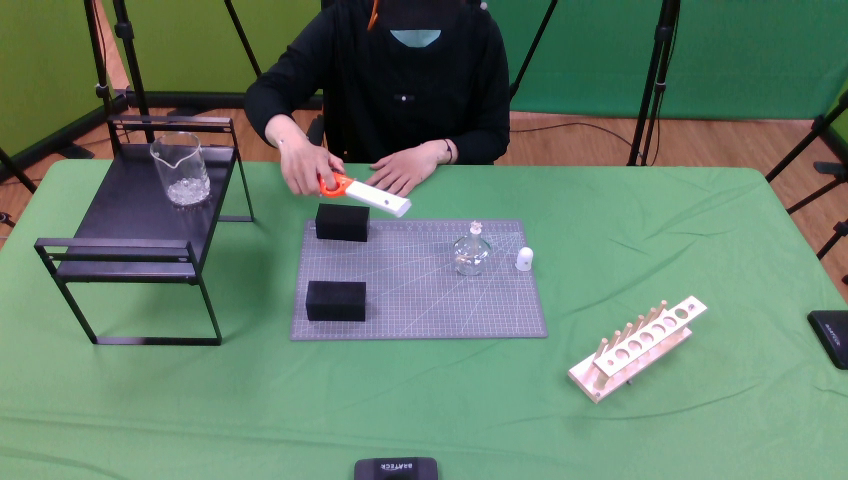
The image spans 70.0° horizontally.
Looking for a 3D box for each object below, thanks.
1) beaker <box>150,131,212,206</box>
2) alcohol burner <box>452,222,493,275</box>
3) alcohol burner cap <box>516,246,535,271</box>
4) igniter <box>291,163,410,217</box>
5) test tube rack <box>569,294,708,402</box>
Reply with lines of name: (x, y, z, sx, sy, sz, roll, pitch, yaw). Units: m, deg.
beaker: (-0.385, -0.110, 0.969, 0.074, 0.101, 0.083, -6, 48, -9)
alcohol burner: (0.091, 0.009, 1.124, 0.078, 0.119, 0.077, 2, 48, -2)
alcohol burner cap: (0.195, 0.032, 1.158, 0.034, 0.048, 0.033, 2, 45, -2)
igniter: (-0.135, -0.091, 1.040, 0.275, 0.025, 0.057, 22, 60, 37)
test tube rack: (0.360, 0.167, 1.015, 0.242, 0.085, 0.066, -25, 52, -25)
